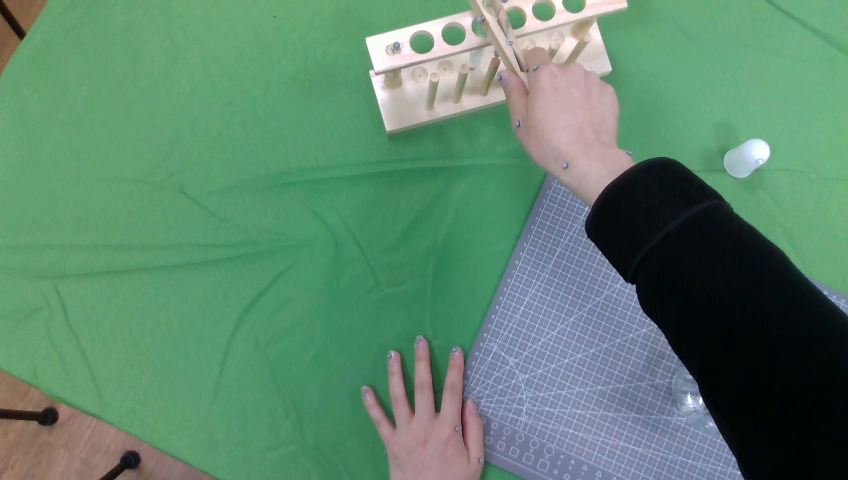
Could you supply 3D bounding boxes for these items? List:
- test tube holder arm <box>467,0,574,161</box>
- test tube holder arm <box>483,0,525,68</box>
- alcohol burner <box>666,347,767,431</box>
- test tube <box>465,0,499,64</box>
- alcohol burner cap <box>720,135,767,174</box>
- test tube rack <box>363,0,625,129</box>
[{"bbox_3d":[0.079,-0.144,0.515,0.013,0.015,0.177,-22,76,-13],"label":"test tube holder arm"},{"bbox_3d":[0.068,-0.186,0.527,0.010,0.015,0.087,-14,74,-12],"label":"test tube holder arm"},{"bbox_3d":[0.271,0.137,0.552,0.078,0.119,0.077,0,81,-2],"label":"alcohol burner"},{"bbox_3d":[0.055,-0.203,0.538,0.017,0.151,0.017,2,73,-6],"label":"test tube"},{"bbox_3d":[0.328,-0.089,0.615,0.034,0.048,0.033,0,79,-2],"label":"alcohol burner cap"},{"bbox_3d":[0.068,-0.182,0.590,0.242,0.085,0.066,-16,84,-5],"label":"test tube rack"}]
